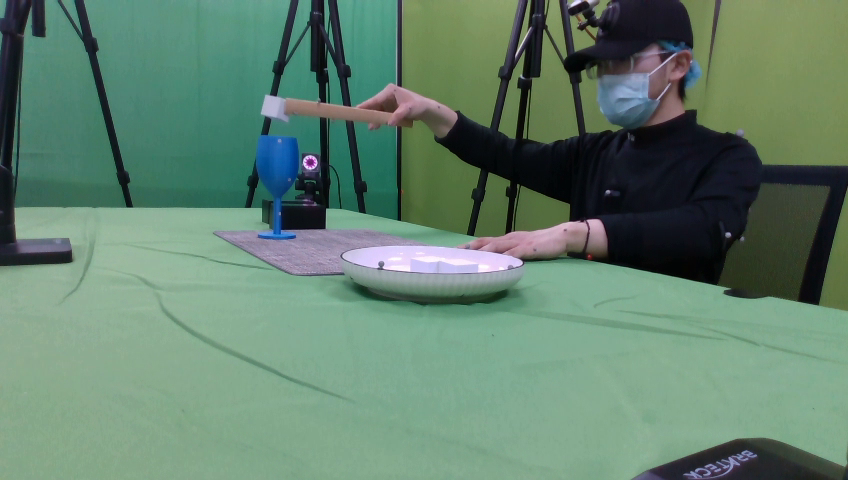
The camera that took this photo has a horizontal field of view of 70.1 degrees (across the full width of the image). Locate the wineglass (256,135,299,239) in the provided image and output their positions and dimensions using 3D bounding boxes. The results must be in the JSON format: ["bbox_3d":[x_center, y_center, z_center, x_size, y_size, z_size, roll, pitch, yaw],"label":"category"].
[{"bbox_3d":[-0.252,-0.091,1.035,0.074,0.172,0.073,3,7,0],"label":"wineglass"}]

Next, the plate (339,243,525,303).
[{"bbox_3d":[0.008,0.035,0.682,0.209,0.038,0.209,3,7,0],"label":"plate"}]

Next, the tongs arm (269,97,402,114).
[{"bbox_3d":[-0.156,-0.251,1.191,0.028,0.028,0.389,10,11,31],"label":"tongs arm"}]

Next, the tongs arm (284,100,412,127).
[{"bbox_3d":[-0.136,-0.245,1.179,0.050,0.026,0.387,15,14,34],"label":"tongs arm"}]
